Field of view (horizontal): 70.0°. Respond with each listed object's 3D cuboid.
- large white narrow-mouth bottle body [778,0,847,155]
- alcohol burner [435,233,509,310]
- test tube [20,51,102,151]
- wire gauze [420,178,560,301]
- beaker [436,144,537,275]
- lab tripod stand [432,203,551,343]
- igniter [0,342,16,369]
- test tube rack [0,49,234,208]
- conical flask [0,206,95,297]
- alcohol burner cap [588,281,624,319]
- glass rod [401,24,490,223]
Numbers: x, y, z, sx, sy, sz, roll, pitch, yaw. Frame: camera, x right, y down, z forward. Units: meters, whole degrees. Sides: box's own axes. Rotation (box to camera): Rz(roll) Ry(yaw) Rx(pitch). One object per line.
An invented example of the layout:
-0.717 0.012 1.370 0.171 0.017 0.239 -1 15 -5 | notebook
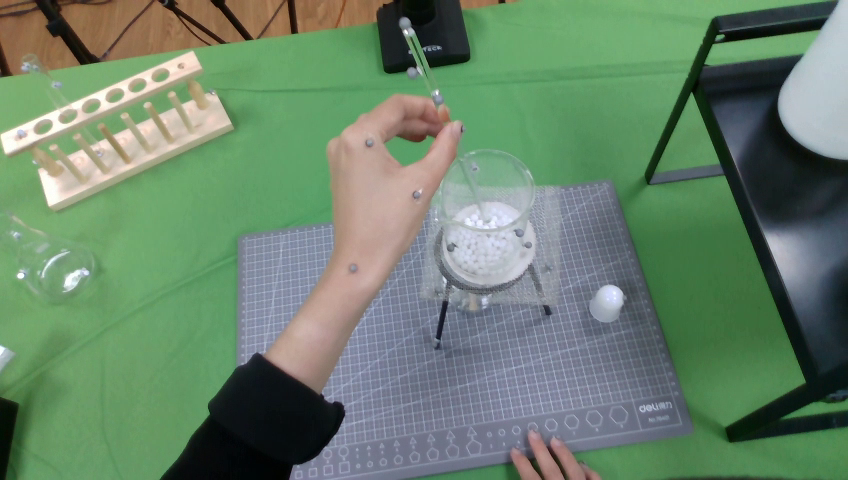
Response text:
0.351 -0.153 0.446 0.102 0.196 0.101 -2 63 5 | large white narrow-mouth bottle body
0.049 0.026 0.622 0.078 0.120 0.077 -1 62 2 | alcohol burner
-0.421 -0.157 0.710 0.017 0.151 0.017 -2 57 3 | test tube
0.062 -0.002 0.550 0.121 0.011 0.124 4 62 4 | wire gauze
0.049 -0.019 0.505 0.084 0.101 0.073 -30 66 -10 | beaker
0.061 0.033 0.607 0.148 0.132 0.147 -1 62 2 | lab tripod stand
-0.488 0.217 0.564 0.057 0.025 0.275 17 65 22 | igniter
-0.374 -0.138 0.753 0.242 0.086 0.066 -28 64 -10 | test tube rack
-0.428 0.008 0.663 0.075 0.123 0.074 -2 63 4 | conical flask
0.192 0.060 0.635 0.034 0.048 0.033 -2 63 4 | alcohol burner cap
0.020 -0.067 0.418 0.008 0.202 0.008 -10 56 15 | glass rod
